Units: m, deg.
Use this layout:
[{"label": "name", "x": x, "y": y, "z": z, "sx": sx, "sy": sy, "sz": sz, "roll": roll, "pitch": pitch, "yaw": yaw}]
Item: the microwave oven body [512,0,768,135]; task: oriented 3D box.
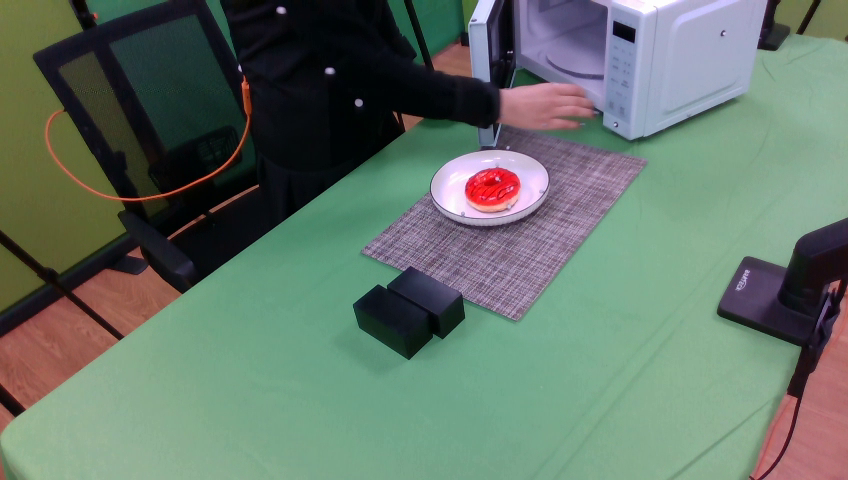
[{"label": "microwave oven body", "x": 0.410, "y": -0.441, "z": 1.235, "sx": 0.327, "sy": 0.261, "sz": 0.437, "roll": -25, "pitch": 42, "yaw": -16}]

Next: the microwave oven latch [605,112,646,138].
[{"label": "microwave oven latch", "x": 0.375, "y": -0.217, "z": 1.130, "sx": 0.030, "sy": 0.029, "sz": 0.078, "roll": -24, "pitch": 42, "yaw": -16}]

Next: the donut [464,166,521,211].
[{"label": "donut", "x": 0.117, "y": -0.089, "z": 1.031, "sx": 0.099, "sy": 0.048, "sz": 0.098, "roll": -7, "pitch": 41, "yaw": 7}]

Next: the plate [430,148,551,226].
[{"label": "plate", "x": 0.114, "y": -0.089, "z": 1.049, "sx": 0.209, "sy": 0.038, "sz": 0.208, "roll": -5, "pitch": 40, "yaw": 5}]

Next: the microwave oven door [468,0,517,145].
[{"label": "microwave oven door", "x": 0.144, "y": -0.389, "z": 1.216, "sx": 0.039, "sy": 0.245, "sz": 0.355, "roll": 3, "pitch": 42, "yaw": 15}]
